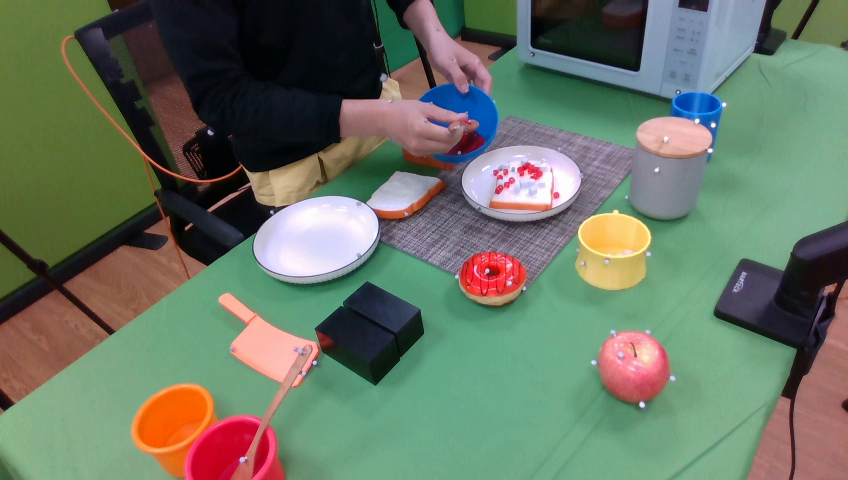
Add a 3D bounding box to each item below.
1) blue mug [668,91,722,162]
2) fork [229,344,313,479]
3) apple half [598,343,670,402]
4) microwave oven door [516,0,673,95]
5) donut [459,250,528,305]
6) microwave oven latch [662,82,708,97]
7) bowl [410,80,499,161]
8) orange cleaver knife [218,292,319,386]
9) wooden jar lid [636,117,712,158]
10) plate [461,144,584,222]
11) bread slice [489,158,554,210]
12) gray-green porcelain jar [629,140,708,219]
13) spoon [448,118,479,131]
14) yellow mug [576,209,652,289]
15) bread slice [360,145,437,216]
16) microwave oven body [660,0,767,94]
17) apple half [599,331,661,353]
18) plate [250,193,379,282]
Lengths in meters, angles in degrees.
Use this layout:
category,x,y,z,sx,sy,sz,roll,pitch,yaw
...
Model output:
category,x,y,z,sx,sy,sz,roll,pitch,yaw
blue mug,0.474,-0.207,1.079,0.082,0.106,0.116,4,42,13
fork,-0.173,0.205,0.662,0.028,0.019,0.207,29,94,35
apple half,0.247,0.161,0.710,0.081,0.075,0.053,1,47,5
microwave oven door,0.344,-0.458,1.257,0.353,0.245,0.039,26,51,33
donut,0.100,0.053,0.872,0.099,0.048,0.098,-4,40,4
microwave oven latch,0.518,-0.298,1.203,0.078,0.029,0.030,28,53,35
bowl,0.053,-0.191,1.045,0.151,0.077,0.150,-1,66,3
orange cleaver knife,-0.235,0.136,0.850,0.209,0.012,0.077,25,56,30
wooden jar lid,0.377,-0.151,0.917,0.108,0.021,0.108,-2,42,2
plate,0.167,-0.095,1.040,0.207,0.039,0.206,-4,41,4
bread slice,0.173,-0.100,1.047,0.104,0.019,0.131,4,44,12
gray-green porcelain jar,0.383,-0.105,0.958,0.106,0.127,0.105,-4,41,4
spoon,0.054,-0.177,0.918,0.041,0.021,0.194,-1,10,12
yellow mug,0.279,0.004,0.893,0.099,0.064,0.130,5,42,14
bread slice,-0.053,-0.103,1.046,0.106,0.018,0.134,19,67,22
microwave oven body,0.473,-0.517,1.313,0.438,0.261,0.327,26,51,34
apple half,0.249,0.134,0.738,0.081,0.081,0.032,-1,46,7
plate,-0.174,-0.001,0.984,0.209,0.038,0.208,-3,40,3
